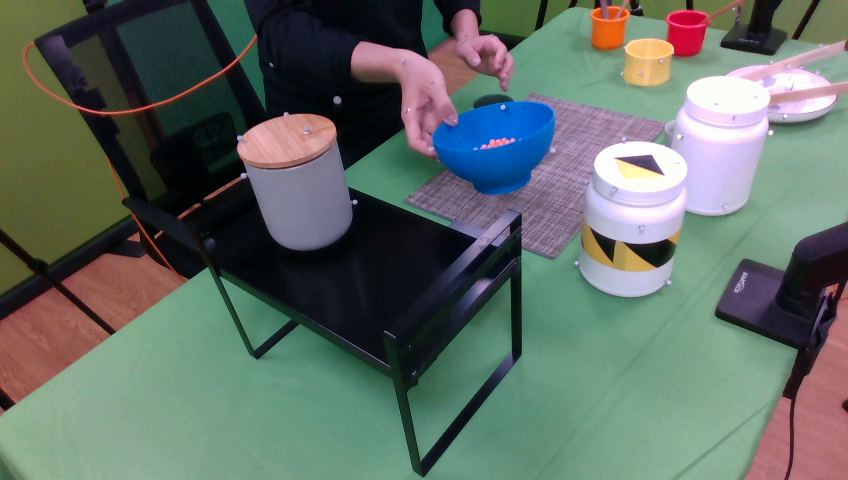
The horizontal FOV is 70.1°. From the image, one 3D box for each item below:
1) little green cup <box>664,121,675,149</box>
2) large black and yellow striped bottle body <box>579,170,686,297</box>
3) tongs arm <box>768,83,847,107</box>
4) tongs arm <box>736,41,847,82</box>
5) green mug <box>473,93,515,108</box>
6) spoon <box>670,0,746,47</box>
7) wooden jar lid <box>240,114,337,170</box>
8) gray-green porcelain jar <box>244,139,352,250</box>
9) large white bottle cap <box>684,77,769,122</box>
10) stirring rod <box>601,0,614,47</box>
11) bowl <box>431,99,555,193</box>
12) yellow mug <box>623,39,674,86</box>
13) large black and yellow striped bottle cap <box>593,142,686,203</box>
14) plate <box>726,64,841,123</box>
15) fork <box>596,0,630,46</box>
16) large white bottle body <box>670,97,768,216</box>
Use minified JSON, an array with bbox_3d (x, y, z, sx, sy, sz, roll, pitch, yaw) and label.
[{"bbox_3d":[0.472,-0.188,1.113,0.061,0.039,0.061,-5,40,4],"label":"little green cup"},{"bbox_3d":[0.287,-0.027,0.841,0.131,0.185,0.130,-4,41,4],"label":"large black and yellow striped bottle body"},{"bbox_3d":[0.739,-0.281,1.134,0.388,0.028,0.028,-9,47,-5],"label":"tongs arm"},{"bbox_3d":[0.712,-0.332,1.194,0.386,0.026,0.050,-19,45,-16],"label":"tongs arm"},{"bbox_3d":[0.144,-0.202,1.122,0.093,0.105,0.124,-29,45,-23],"label":"green mug"},{"bbox_3d":[0.629,-0.485,1.350,0.022,0.193,0.042,48,54,-7],"label":"spoon"},{"bbox_3d":[-0.149,-0.106,0.673,0.108,0.021,0.108,-6,38,5],"label":"wooden jar lid"},{"bbox_3d":[-0.144,-0.060,0.714,0.106,0.127,0.105,-4,41,4],"label":"gray-green porcelain jar"},{"bbox_3d":[0.448,-0.209,0.898,0.115,0.018,0.114,-4,40,4],"label":"large white bottle cap"},{"bbox_3d":[0.439,-0.552,1.463,0.014,0.006,0.175,-7,83,3],"label":"stirring rod"},{"bbox_3d":[0.091,-0.109,0.745,0.151,0.077,0.151,-12,28,7],"label":"bowl"},{"bbox_3d":[0.485,-0.398,1.334,0.100,0.064,0.130,-18,41,-10],"label":"yellow mug"},{"bbox_3d":[0.280,-0.090,0.786,0.115,0.019,0.114,-5,41,5],"label":"large black and yellow striped bottle cap"},{"bbox_3d":[0.695,-0.282,1.189,0.207,0.039,0.206,-4,40,4],"label":"plate"},{"bbox_3d":[0.481,-0.556,1.453,0.028,0.019,0.207,40,103,38],"label":"fork"},{"bbox_3d":[0.458,-0.146,0.952,0.130,0.185,0.130,-4,40,4],"label":"large white bottle body"}]
